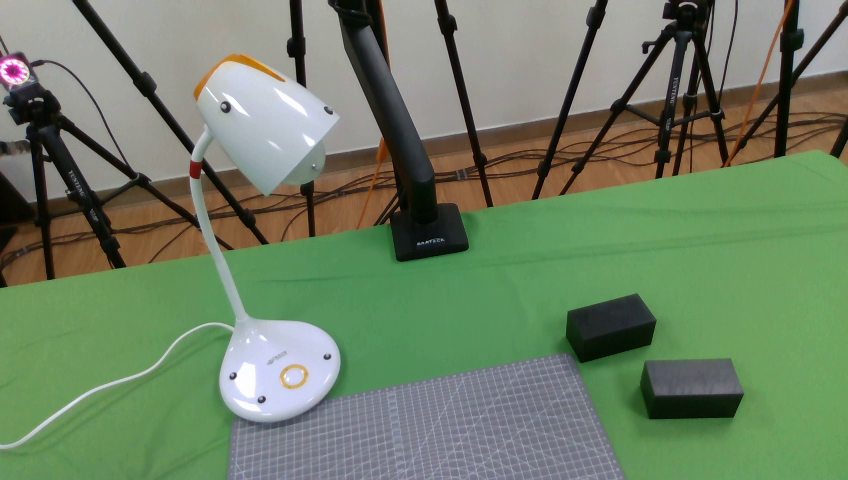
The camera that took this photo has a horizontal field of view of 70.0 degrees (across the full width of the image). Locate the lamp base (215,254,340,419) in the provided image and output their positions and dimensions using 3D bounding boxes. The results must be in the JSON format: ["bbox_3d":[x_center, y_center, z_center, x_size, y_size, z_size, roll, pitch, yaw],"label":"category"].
[{"bbox_3d":[-0.210,0.110,0.775,0.177,0.182,0.160,22,48,33],"label":"lamp base"}]

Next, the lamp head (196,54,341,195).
[{"bbox_3d":[-0.164,-0.120,0.601,0.123,0.112,0.112,38,46,-12],"label":"lamp head"}]
